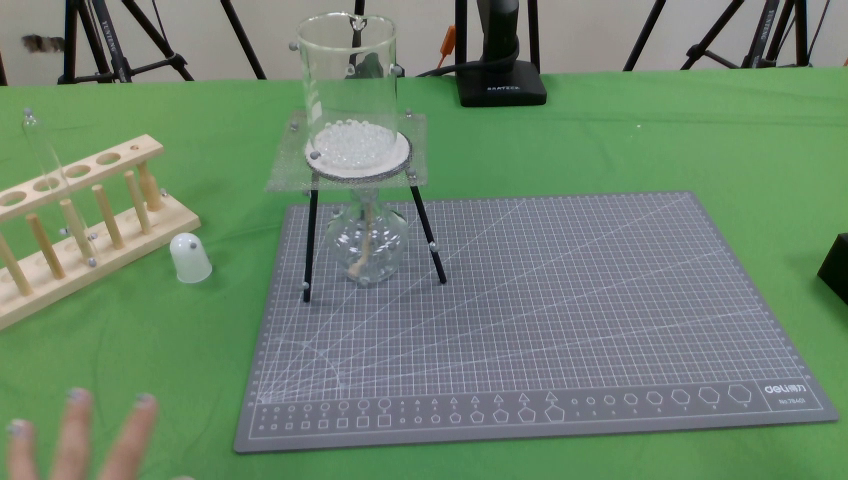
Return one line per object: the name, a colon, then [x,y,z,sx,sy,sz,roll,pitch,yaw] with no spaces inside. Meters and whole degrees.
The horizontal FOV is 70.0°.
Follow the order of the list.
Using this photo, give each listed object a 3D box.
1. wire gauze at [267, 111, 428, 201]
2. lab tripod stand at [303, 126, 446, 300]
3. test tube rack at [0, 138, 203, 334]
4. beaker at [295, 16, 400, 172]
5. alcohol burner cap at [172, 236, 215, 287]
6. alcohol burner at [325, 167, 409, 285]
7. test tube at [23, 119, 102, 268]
wire gauze: [-0.058,-0.073,0.496,0.121,0.011,0.124,0,42,-1]
lab tripod stand: [-0.049,-0.024,0.541,0.148,0.132,0.147,1,39,-1]
test tube rack: [-0.337,-0.001,0.557,0.066,0.086,0.242,31,49,32]
beaker: [-0.055,-0.112,0.467,0.074,0.101,0.083,5,40,4]
alcohol burner cap: [-0.218,0.017,0.569,0.034,0.048,0.033,0,40,0]
alcohol burner: [-0.052,-0.016,0.548,0.078,0.120,0.077,1,41,-1]
test tube: [-0.313,-0.036,0.528,0.017,0.151,0.017,0,39,0]
